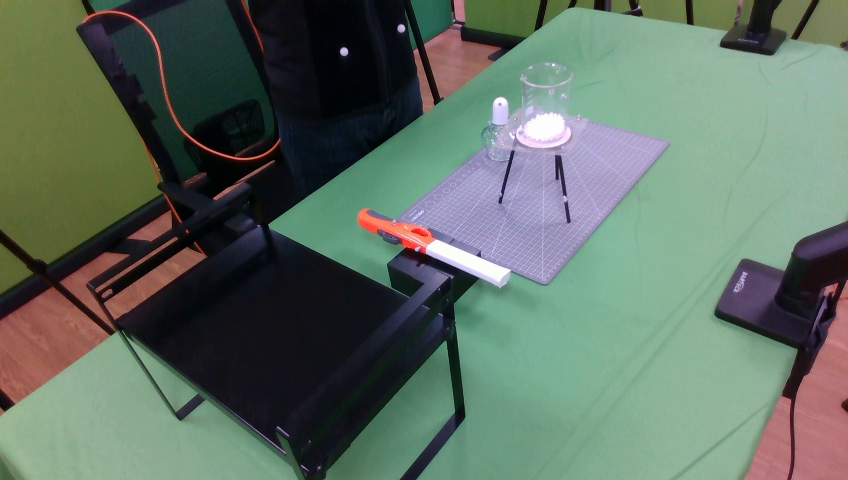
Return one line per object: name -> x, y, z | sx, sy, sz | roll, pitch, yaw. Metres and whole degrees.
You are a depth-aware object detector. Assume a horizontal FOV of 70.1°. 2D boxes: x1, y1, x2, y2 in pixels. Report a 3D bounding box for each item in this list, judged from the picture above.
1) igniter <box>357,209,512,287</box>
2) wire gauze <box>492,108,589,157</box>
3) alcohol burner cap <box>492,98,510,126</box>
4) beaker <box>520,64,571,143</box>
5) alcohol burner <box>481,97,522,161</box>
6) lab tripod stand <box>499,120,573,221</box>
igniter -> 0.004, 0.006, 0.891 | 0.274, 0.025, 0.057 | 23, 38, 30
wire gauze -> 0.185, -0.169, 0.953 | 0.121, 0.011, 0.125 | 13, 46, 22
alcohol burner cap -> 0.140, -0.236, 1.101 | 0.034, 0.048, 0.033 | -4, 37, 4
beaker -> 0.187, -0.208, 0.924 | 0.073, 0.101, 0.084 | 23, 49, 30
alcohol burner -> 0.143, -0.208, 1.124 | 0.078, 0.119, 0.077 | -6, 40, 5
lab tripod stand -> 0.198, -0.117, 0.992 | 0.148, 0.132, 0.147 | -3, 40, 3
